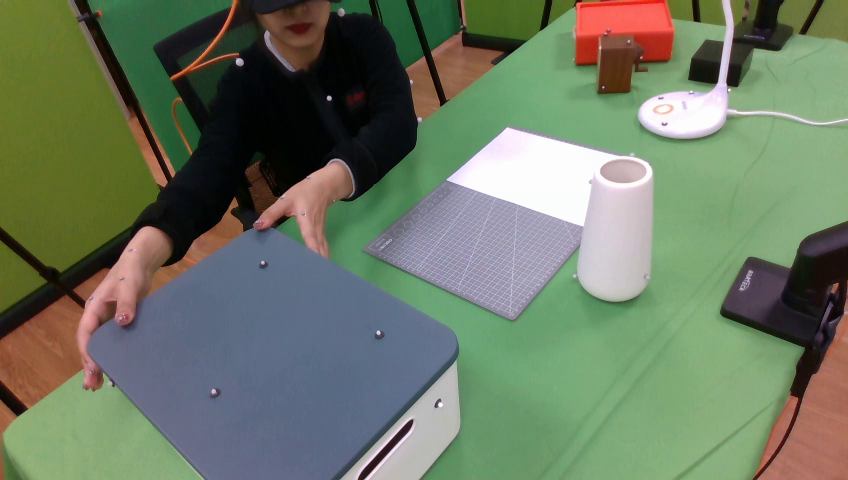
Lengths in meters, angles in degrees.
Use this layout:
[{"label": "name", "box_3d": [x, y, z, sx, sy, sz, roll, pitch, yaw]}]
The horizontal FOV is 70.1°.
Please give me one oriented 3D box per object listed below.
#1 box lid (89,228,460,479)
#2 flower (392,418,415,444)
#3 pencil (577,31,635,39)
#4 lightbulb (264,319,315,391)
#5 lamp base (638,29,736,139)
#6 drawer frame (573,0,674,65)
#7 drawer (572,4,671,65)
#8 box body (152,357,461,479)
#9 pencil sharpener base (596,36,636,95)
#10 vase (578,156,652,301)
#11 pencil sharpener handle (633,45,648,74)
[{"label": "box lid", "box_3d": [-0.173, 0.112, 0.662, 0.368, 0.015, 0.264, 25, 50, 35]}, {"label": "flower", "box_3d": [-0.153, 0.228, 0.743, 0.360, 0.038, 0.044, -2, 44, 16]}, {"label": "pencil", "box_3d": [0.431, -0.489, 1.443, 0.012, 0.012, 0.192, -25, 30, -18]}, {"label": "lightbulb", "box_3d": [-0.175, 0.154, 0.806, 0.060, 0.060, 0.107, -24, 58, -17]}, {"label": "lamp base", "box_3d": [0.501, -0.302, 1.125, 0.179, 0.181, 0.160, -4, 40, 3]}, {"label": "drawer frame", "box_3d": [0.464, -0.492, 1.434, 0.213, 0.083, 0.201, 1, 40, 12]}, {"label": "drawer", "box_3d": [0.461, -0.490, 1.435, 0.211, 0.073, 0.194, 2, 41, 12]}, {"label": "box body", "box_3d": [-0.162, 0.170, 0.708, 0.361, 0.161, 0.255, 25, 50, 34]}, {"label": "pencil sharpener base", "box_3d": [0.406, -0.369, 1.280, 0.076, 0.107, 0.061, 1, 41, 13]}, {"label": "vase", "box_3d": [0.261, -0.011, 0.812, 0.098, 0.201, 0.097, -4, 40, 4]}, {"label": "pencil sharpener handle", "box_3d": [0.454, -0.378, 1.262, 0.030, 0.068, 0.036, 1, 47, 13]}]
